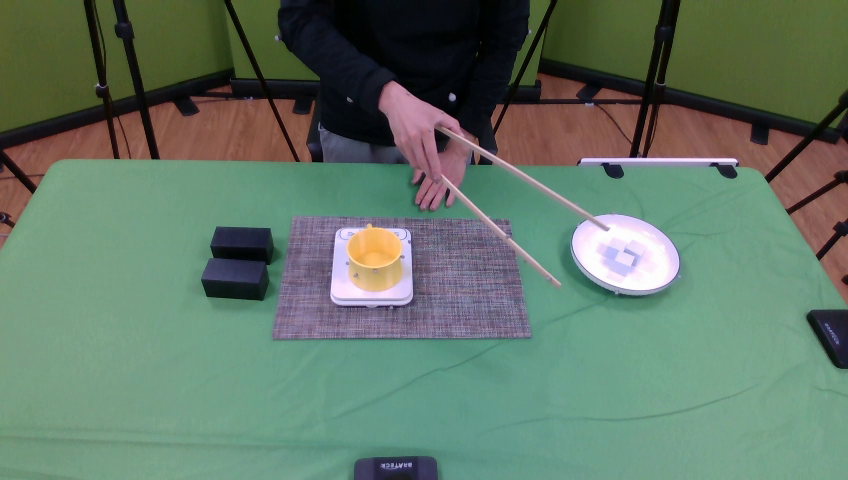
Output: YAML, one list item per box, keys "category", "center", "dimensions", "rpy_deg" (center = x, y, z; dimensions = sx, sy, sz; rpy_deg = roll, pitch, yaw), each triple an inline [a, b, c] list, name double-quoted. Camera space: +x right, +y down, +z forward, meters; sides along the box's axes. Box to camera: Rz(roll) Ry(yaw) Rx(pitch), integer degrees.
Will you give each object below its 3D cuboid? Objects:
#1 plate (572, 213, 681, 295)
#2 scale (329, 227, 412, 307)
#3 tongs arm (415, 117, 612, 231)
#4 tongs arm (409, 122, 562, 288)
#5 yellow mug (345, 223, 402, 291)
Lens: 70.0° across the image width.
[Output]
- category: "plate"
  center: [0.392, 0.030, 1.189]
  dimensions: [0.208, 0.039, 0.206]
  rpy_deg: [2, 46, -2]
- category: "scale"
  center: [-0.099, 0.042, 1.139]
  dimensions: [0.149, 0.032, 0.199]
  rpy_deg: [1, 46, -4]
- category: "tongs arm"
  center: [0.149, -0.117, 1.042]
  dimensions: [0.386, 0.028, 0.028]
  rpy_deg: [33, 83, 15]
- category: "tongs arm"
  center: [0.101, -0.066, 1.030]
  dimensions: [0.051, 0.026, 0.383]
  rpy_deg: [-45, 73, -7]
- category: "yellow mug"
  center: [-0.092, 0.022, 1.094]
  dimensions: [0.100, 0.064, 0.130]
  rpy_deg: [-8, 46, -10]
